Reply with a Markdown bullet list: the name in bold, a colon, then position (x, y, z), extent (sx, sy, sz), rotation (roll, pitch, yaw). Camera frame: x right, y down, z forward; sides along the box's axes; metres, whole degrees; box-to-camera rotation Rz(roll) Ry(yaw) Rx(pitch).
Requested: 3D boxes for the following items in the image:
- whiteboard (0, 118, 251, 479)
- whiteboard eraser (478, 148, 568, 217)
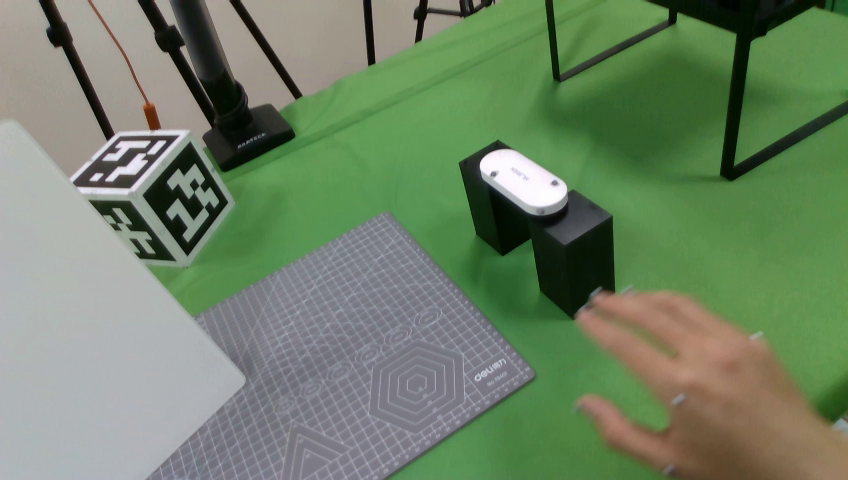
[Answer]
- **whiteboard**: position (-0.348, 0.086, 0.528), extent (0.217, 0.308, 0.143), rotation (-45, 29, -25)
- **whiteboard eraser**: position (0.087, -0.054, 0.544), extent (0.041, 0.019, 0.100), rotation (-30, 45, -15)
